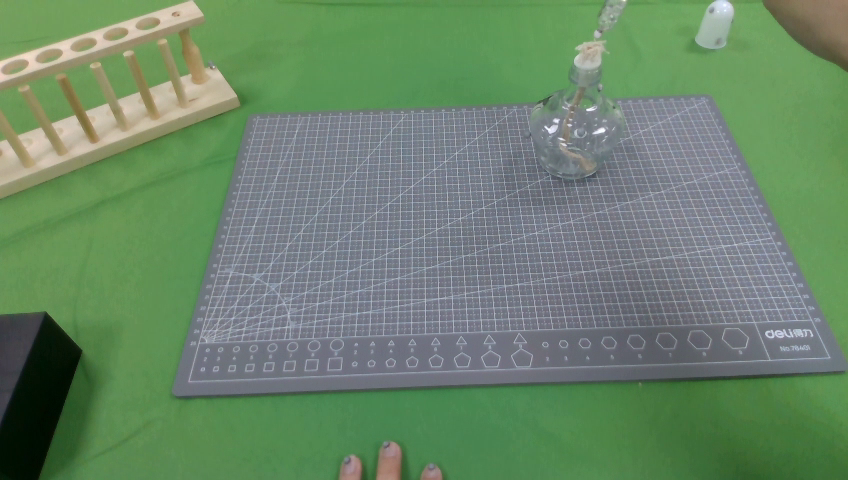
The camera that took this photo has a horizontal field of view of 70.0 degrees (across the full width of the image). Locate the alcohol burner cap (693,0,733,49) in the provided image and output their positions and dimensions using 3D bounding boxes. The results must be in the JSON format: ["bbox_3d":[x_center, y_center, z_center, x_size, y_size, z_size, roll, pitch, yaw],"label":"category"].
[{"bbox_3d":[0.306,-0.229,0.635,0.034,0.048,0.033,-2,51,3],"label":"alcohol burner cap"}]

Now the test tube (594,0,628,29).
[{"bbox_3d":[0.148,-0.199,0.381,0.017,0.151,0.017,10,51,-12],"label":"test tube"}]

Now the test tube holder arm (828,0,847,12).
[{"bbox_3d":[0.206,-0.169,0.357,0.177,0.015,0.013,39,54,14],"label":"test tube holder arm"}]

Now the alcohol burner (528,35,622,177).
[{"bbox_3d":[0.125,-0.111,0.495,0.078,0.120,0.077,-1,48,2],"label":"alcohol burner"}]

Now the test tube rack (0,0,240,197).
[{"bbox_3d":[-0.305,-0.131,0.555,0.242,0.086,0.066,-27,54,-18],"label":"test tube rack"}]
